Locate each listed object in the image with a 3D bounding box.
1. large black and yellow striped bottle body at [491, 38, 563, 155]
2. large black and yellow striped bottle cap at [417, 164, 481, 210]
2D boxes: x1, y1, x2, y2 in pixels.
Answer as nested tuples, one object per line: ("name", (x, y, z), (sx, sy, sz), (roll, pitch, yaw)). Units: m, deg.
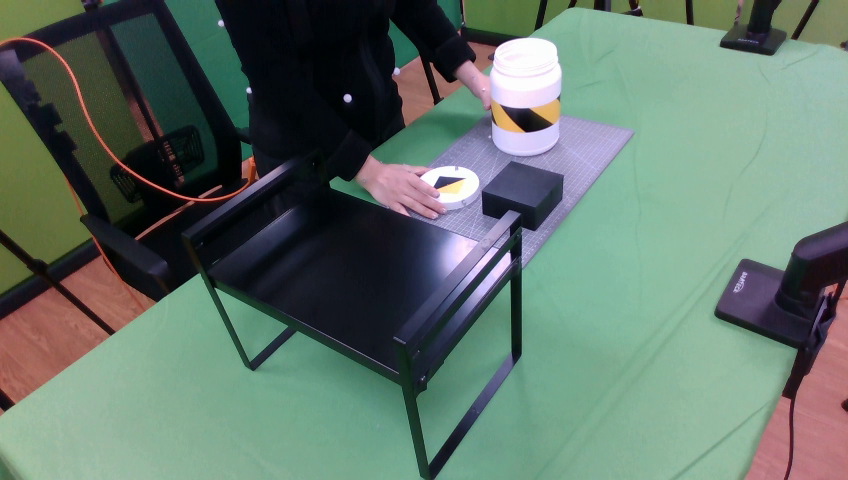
("large black and yellow striped bottle body", (0.192, -0.268, 1.130), (0.131, 0.185, 0.130), (-5, 41, 5))
("large black and yellow striped bottle cap", (0.045, -0.097, 1.083), (0.115, 0.019, 0.114), (-4, 42, 4))
